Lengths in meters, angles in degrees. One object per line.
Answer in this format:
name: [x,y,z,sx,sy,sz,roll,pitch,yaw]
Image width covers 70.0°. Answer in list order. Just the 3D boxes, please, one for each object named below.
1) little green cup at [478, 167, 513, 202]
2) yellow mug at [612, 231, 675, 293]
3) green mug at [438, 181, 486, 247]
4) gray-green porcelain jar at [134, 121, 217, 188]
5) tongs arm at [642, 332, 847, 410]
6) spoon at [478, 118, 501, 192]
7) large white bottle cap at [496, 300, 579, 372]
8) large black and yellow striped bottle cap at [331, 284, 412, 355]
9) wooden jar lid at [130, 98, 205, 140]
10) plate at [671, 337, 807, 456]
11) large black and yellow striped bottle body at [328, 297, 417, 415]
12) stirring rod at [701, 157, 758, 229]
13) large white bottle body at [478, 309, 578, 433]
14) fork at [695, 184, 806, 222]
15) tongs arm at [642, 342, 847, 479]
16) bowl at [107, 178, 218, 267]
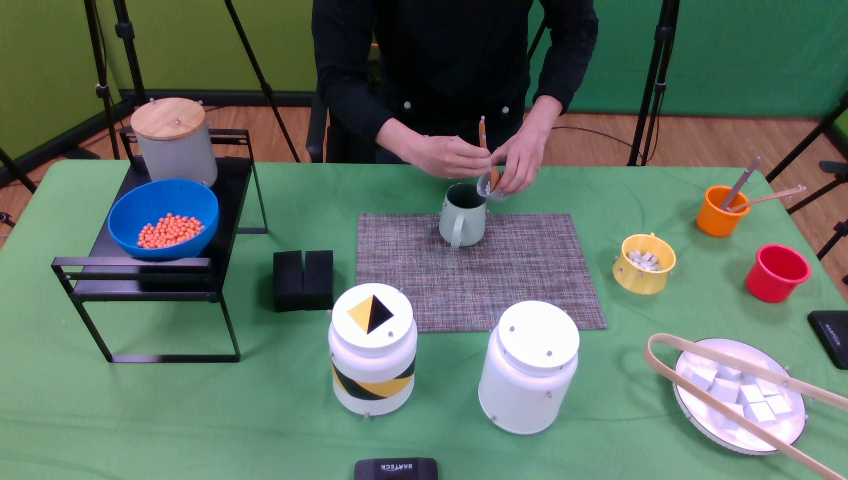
little green cup: [0.135,-0.102,1.131,0.039,0.061,0.061,38,46,-15]
yellow mug: [0.424,0.033,1.168,0.100,0.064,0.130,18,46,13]
green mug: [0.072,-0.039,1.178,0.092,0.105,0.124,12,47,7]
gray-green porcelain jar: [-0.396,-0.141,0.979,0.106,0.127,0.105,2,47,-2]
tongs arm: [0.546,0.227,0.968,0.384,0.026,0.050,22,52,13]
spoon: [0.110,-0.143,1.050,0.021,0.195,0.041,20,67,28]
large white bottle cap: [0.160,0.133,0.852,0.115,0.018,0.114,3,46,-2]
large black and yellow striped bottle cap: [-0.073,0.111,0.858,0.115,0.019,0.114,2,46,-2]
wooden jar lid: [-0.393,-0.183,0.934,0.108,0.021,0.107,2,44,-2]
plate: [0.504,0.254,0.984,0.208,0.039,0.206,2,46,-2]
large black and yellow striped bottle body: [-0.078,0.167,0.920,0.131,0.185,0.130,2,46,-2]
stirring rod: [0.634,-0.097,1.257,0.014,0.006,0.176,38,97,30]
large white bottle body: [0.156,0.192,0.913,0.131,0.185,0.130,2,46,-2]
fork: [0.658,-0.074,1.230,0.207,0.019,0.028,-23,35,37]
tongs arm: [0.504,0.279,0.918,0.386,0.028,0.028,33,59,22]
bowl: [-0.374,-0.014,0.893,0.151,0.077,0.150,2,46,-2]
